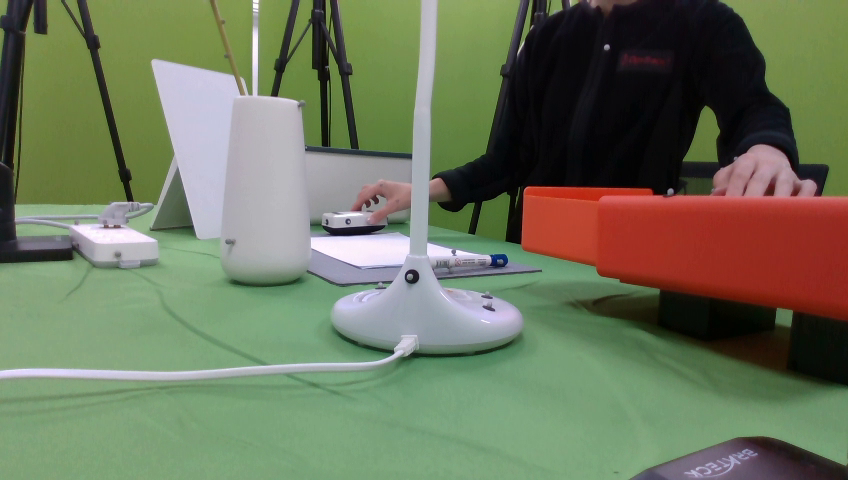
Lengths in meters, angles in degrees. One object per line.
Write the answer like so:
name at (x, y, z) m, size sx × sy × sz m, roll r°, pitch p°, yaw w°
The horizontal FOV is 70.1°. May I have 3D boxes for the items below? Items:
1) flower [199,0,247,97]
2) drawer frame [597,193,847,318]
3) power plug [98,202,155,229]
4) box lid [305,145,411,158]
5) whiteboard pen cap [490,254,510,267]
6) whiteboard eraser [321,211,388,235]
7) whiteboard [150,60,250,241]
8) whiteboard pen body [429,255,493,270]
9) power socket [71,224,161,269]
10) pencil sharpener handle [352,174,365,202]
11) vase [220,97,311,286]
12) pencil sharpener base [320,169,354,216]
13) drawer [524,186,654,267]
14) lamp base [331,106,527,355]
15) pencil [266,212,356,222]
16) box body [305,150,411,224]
flower at (-0.187, -0.133, 0.648) m, size 0.038 × 0.362 × 0.044 m, roll 0°, pitch 21°, yaw 43°
drawer frame at (0.293, 0.002, 0.504) m, size 0.203 × 0.082 × 0.212 m, roll -1°, pitch 5°, yaw -30°
power plug at (-0.416, -0.027, 0.848) m, size 0.073 × 0.052 × 0.035 m, roll 0°, pitch 8°, yaw -28°
box lid at (-0.228, -0.200, 1.361) m, size 0.373 × 0.015 × 0.262 m, roll -1°, pitch 8°, yaw -33°
whiteboard pen cap at (0.098, 0.028, 0.815) m, size 0.033 × 0.018 × 0.018 m, roll -1°, pitch 8°, yaw -39°
whiteboard eraser at (-0.127, -0.031, 1.108) m, size 0.113 × 0.042 × 0.055 m, roll -5°, pitch 5°, yaw -34°
whiteboard at (-0.408, -0.139, 1.093) m, size 0.143 × 0.305 × 0.218 m, roll -15°, pitch -1°, yaw 26°
whiteboard pen body at (0.053, 0.028, 0.777) m, size 0.141 × 0.017 × 0.017 m, roll -1°, pitch 8°, yaw -39°
power socket at (-0.408, 0.004, 0.793) m, size 0.072 × 0.032 × 0.225 m, roll -2°, pitch 8°, yaw -38°
pencil sharpener handle at (-0.156, -0.125, 1.450) m, size 0.031 × 0.068 × 0.036 m, roll 2°, pitch 19°, yaw -11°
vase at (-0.172, -0.052, 0.662) m, size 0.098 × 0.200 × 0.098 m, roll 3°, pitch 8°, yaw 0°
pencil sharpener base at (-0.207, -0.113, 1.438) m, size 0.077 × 0.107 × 0.061 m, roll 2°, pitch 6°, yaw -11°
drawer at (0.238, -0.011, 0.599) m, size 0.195 × 0.073 × 0.210 m, roll -1°, pitch 8°, yaw -29°
lamp base at (0.006, -0.012, 0.478) m, size 0.161 × 0.180 × 0.179 m, roll 2°, pitch 10°, yaw 2°
pencil at (-0.244, -0.049, 1.319) m, size 0.195 × 0.012 × 0.012 m, roll 4°, pitch 7°, yaw -12°
box body at (-0.230, -0.126, 1.372) m, size 0.366 × 0.160 × 0.253 m, roll -2°, pitch 8°, yaw -33°
